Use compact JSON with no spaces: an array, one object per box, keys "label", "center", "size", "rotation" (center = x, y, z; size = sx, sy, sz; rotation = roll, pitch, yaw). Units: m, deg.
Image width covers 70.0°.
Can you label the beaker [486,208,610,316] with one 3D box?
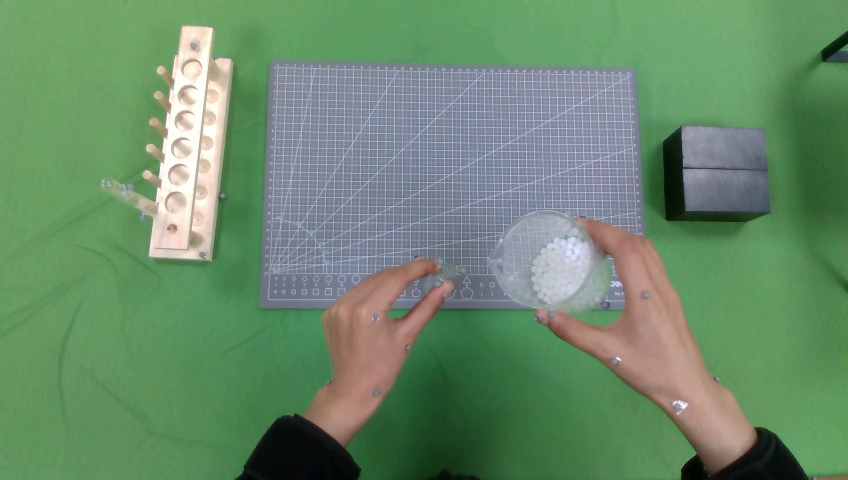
[{"label":"beaker","center":[0.104,0.023,0.484],"size":[0.083,0.101,0.073],"rotation":[-1,78,26]}]

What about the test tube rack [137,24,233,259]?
[{"label":"test tube rack","center":[-0.267,-0.106,0.669],"size":[0.067,0.085,0.241],"rotation":[4,80,-2]}]

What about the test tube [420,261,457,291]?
[{"label":"test tube","center":[0.011,0.035,0.556],"size":[0.017,0.150,0.017],"rotation":[1,82,-6]}]

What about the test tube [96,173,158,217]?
[{"label":"test tube","center":[-0.290,-0.041,0.612],"size":[0.017,0.151,0.017],"rotation":[1,81,-3]}]
